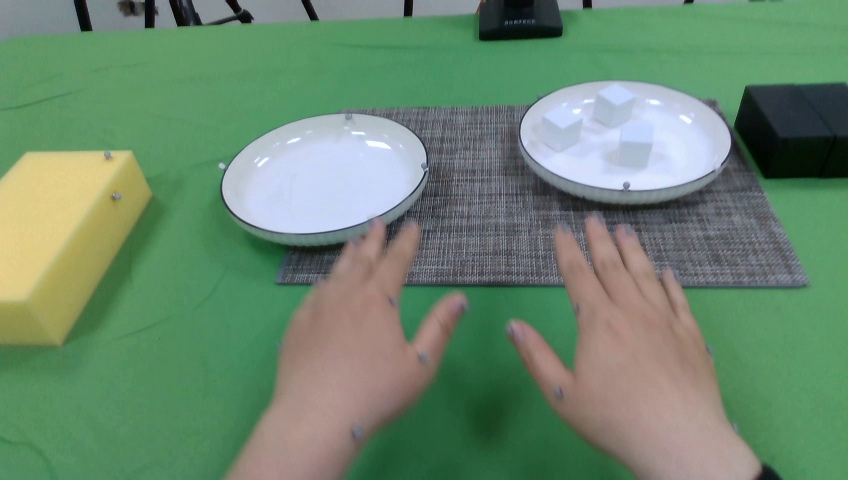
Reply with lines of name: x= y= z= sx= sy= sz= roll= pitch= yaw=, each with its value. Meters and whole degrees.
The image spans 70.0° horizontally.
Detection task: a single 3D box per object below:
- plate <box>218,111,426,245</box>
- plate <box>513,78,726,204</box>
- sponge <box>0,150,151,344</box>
plate: x=-0.100 y=-0.062 z=0.618 sx=0.209 sy=0.038 sz=0.207 roll=-3 pitch=42 yaw=3
plate: x=0.197 y=-0.101 z=0.627 sx=0.207 sy=0.039 sz=0.205 roll=-3 pitch=43 yaw=3
sponge: x=-0.360 y=-0.002 z=0.568 sx=0.118 sy=0.061 sz=0.205 roll=0 pitch=43 yaw=4
